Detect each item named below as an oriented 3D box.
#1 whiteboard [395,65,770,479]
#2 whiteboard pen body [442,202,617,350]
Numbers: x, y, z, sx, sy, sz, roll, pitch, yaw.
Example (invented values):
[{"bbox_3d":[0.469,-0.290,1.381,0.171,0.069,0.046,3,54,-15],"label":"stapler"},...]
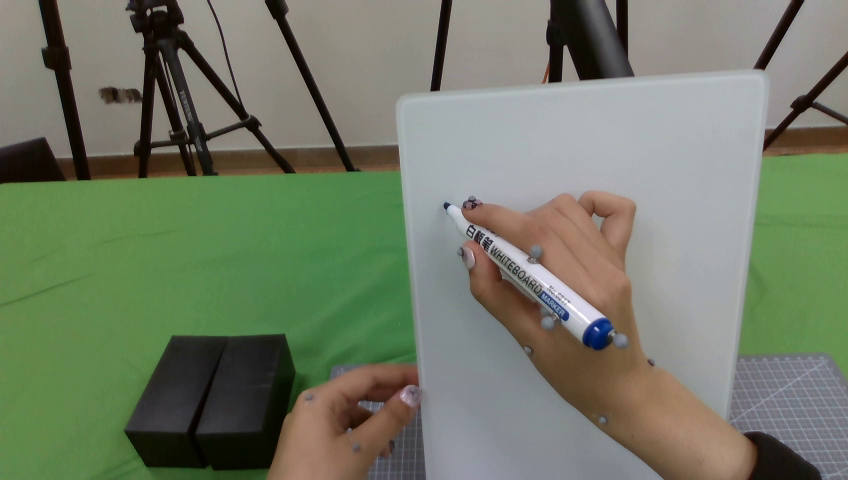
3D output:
[{"bbox_3d":[0.101,0.030,0.457,0.217,0.307,0.143,-3,19,1],"label":"whiteboard"},{"bbox_3d":[0.046,0.011,0.315,0.017,0.017,0.139,-21,38,-21],"label":"whiteboard pen body"}]
